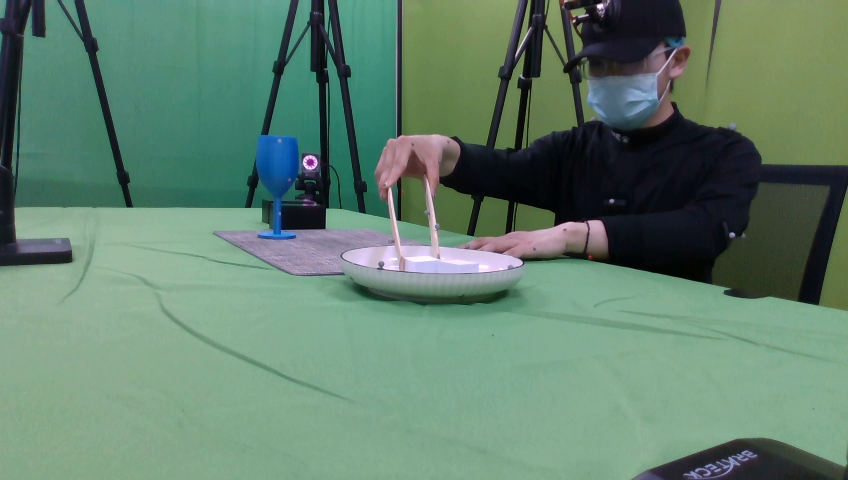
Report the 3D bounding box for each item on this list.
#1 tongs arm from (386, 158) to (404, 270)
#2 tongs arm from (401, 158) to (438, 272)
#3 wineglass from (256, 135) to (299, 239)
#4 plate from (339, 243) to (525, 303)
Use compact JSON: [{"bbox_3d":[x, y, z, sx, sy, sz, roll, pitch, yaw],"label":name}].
[{"bbox_3d":[-0.036,-0.049,0.825,0.028,0.028,0.386,-4,23,-3],"label":"tongs arm"},{"bbox_3d":[-0.011,-0.049,0.828,0.051,0.026,0.384,1,23,-1],"label":"tongs arm"},{"bbox_3d":[-0.252,-0.091,1.035,0.074,0.172,0.073,2,7,0],"label":"wineglass"},{"bbox_3d":[0.008,0.035,0.682,0.209,0.038,0.209,3,7,0],"label":"plate"}]
